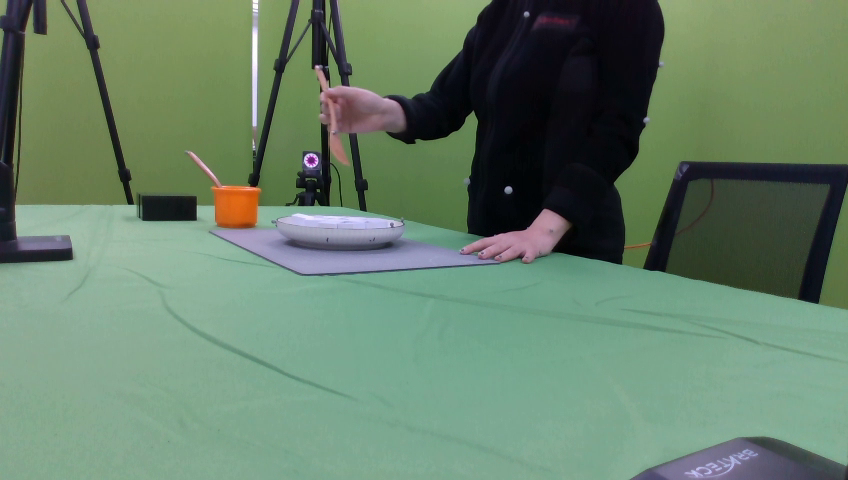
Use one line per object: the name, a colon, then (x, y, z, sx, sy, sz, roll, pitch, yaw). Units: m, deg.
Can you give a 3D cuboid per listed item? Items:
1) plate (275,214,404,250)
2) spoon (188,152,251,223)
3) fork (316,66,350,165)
plate: (-0.135, -0.013, 0.982, 0.208, 0.039, 0.207, 3, 7, 0)
spoon: (-0.400, -0.103, 1.178, 0.021, 0.193, 0.042, -43, -11, 29)
fork: (-0.150, -0.205, 0.977, 0.018, 0.206, 0.028, -32, -29, 33)
